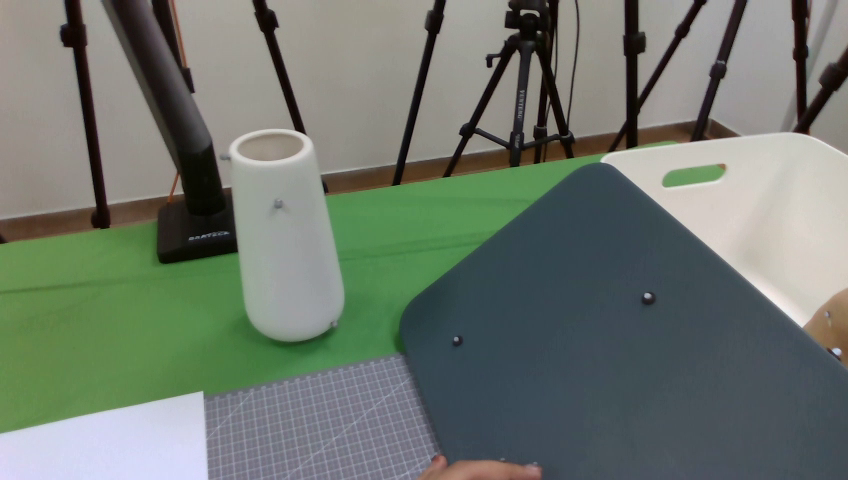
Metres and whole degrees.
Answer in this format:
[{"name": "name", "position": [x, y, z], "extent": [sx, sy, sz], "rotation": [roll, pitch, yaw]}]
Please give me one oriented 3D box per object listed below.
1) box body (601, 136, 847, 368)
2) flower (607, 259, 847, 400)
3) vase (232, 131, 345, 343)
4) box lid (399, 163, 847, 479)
[{"name": "box body", "position": [0.334, 0.064, 0.531], "extent": [0.255, 0.162, 0.360], "rotation": [-9, 36, -13]}, {"name": "flower", "position": [0.339, 0.113, 0.577], "extent": [0.358, 0.038, 0.044], "rotation": [32, 39, 31]}, {"name": "vase", "position": [-0.130, 0.001, 0.573], "extent": [0.098, 0.201, 0.097], "rotation": [0, 34, 1]}, {"name": "box lid", "position": [0.123, 0.102, 0.461], "extent": [0.263, 0.015, 0.367], "rotation": [-39, 38, 9]}]
